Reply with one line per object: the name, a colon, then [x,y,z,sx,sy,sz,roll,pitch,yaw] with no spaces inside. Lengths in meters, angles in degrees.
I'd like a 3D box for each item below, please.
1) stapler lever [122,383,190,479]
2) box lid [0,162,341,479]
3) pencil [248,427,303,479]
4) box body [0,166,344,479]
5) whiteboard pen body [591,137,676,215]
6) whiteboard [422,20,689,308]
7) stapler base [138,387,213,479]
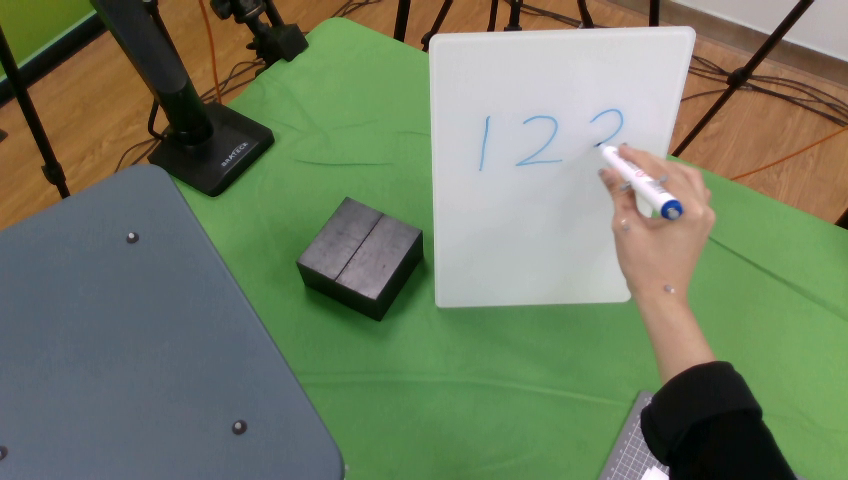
stapler lever: [-0.248,0.187,0.547,0.026,0.040,0.117,1,58,23]
box lid: [-0.260,0.106,0.467,0.263,0.015,0.368,-32,64,-18]
pencil: [-0.179,0.244,0.547,0.012,0.012,0.193,31,52,19]
box body: [-0.258,0.146,0.529,0.254,0.162,0.360,-32,63,-18]
whiteboard pen body: [0.162,-0.057,0.487,0.017,0.017,0.139,-9,31,-5]
whiteboard: [0.110,-0.092,0.629,0.217,0.308,0.142,-1,38,0]
stapler base: [-0.241,0.199,0.567,0.041,0.025,0.129,1,60,23]
